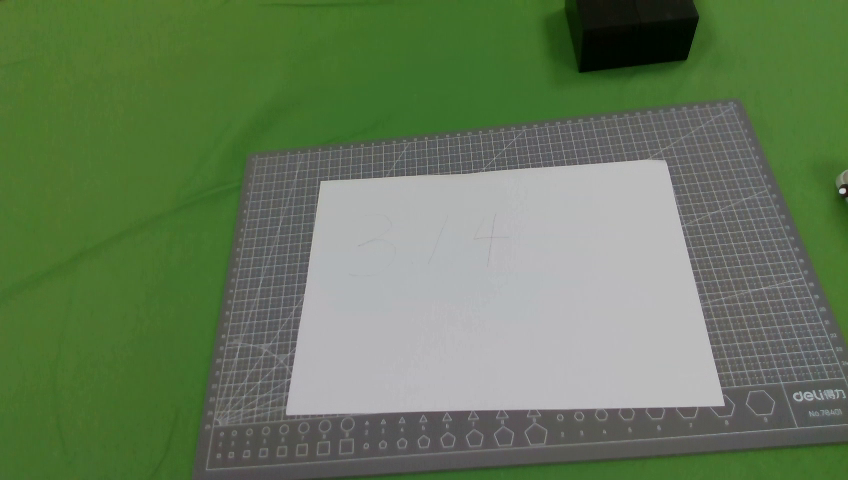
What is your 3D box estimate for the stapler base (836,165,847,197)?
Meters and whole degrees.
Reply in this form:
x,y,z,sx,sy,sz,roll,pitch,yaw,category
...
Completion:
x,y,z,sx,sy,sz,roll,pitch,yaw,category
0.352,-0.011,0.439,0.041,0.024,0.129,-14,59,3,stapler base
